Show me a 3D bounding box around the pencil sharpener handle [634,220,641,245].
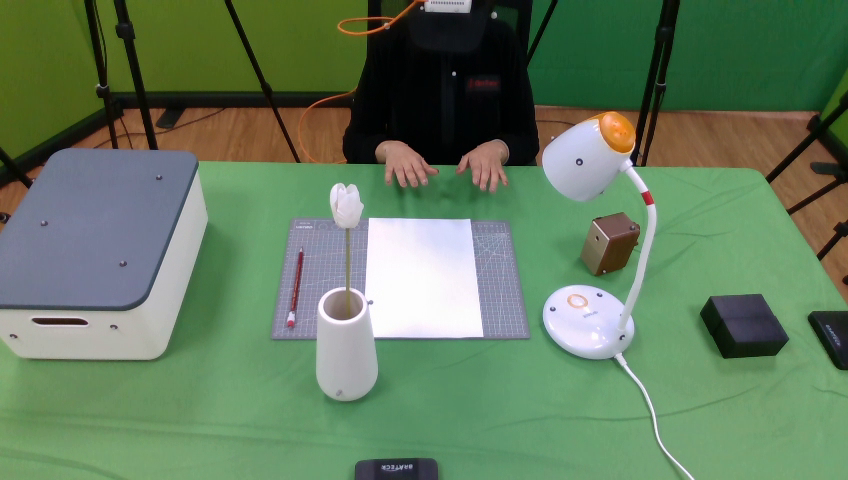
[{"bbox_3d":[0.405,-0.015,1.161,0.031,0.068,0.035,-15,44,-18],"label":"pencil sharpener handle"}]

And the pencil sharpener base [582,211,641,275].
[{"bbox_3d":[0.357,0.005,1.155,0.077,0.107,0.061,-15,48,-18],"label":"pencil sharpener base"}]

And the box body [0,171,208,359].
[{"bbox_3d":[-0.541,0.021,1.042,0.254,0.161,0.361,1,46,-3],"label":"box body"}]

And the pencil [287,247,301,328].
[{"bbox_3d":[-0.236,0.081,1.107,0.012,0.012,0.193,0,45,-4],"label":"pencil"}]

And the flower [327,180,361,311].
[{"bbox_3d":[-0.110,0.087,0.867,0.044,0.363,0.038,22,33,36],"label":"flower"}]

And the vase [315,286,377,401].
[{"bbox_3d":[-0.119,0.159,0.911,0.098,0.201,0.097,2,47,-2],"label":"vase"}]

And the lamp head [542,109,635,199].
[{"bbox_3d":[0.253,-0.131,0.893,0.113,0.123,0.112,10,66,-24],"label":"lamp head"}]

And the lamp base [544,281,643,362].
[{"bbox_3d":[0.303,0.095,1.014,0.161,0.181,0.178,-24,54,-24],"label":"lamp base"}]

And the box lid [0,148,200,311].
[{"bbox_3d":[-0.536,-0.034,0.989,0.263,0.015,0.369,1,45,-3],"label":"box lid"}]
